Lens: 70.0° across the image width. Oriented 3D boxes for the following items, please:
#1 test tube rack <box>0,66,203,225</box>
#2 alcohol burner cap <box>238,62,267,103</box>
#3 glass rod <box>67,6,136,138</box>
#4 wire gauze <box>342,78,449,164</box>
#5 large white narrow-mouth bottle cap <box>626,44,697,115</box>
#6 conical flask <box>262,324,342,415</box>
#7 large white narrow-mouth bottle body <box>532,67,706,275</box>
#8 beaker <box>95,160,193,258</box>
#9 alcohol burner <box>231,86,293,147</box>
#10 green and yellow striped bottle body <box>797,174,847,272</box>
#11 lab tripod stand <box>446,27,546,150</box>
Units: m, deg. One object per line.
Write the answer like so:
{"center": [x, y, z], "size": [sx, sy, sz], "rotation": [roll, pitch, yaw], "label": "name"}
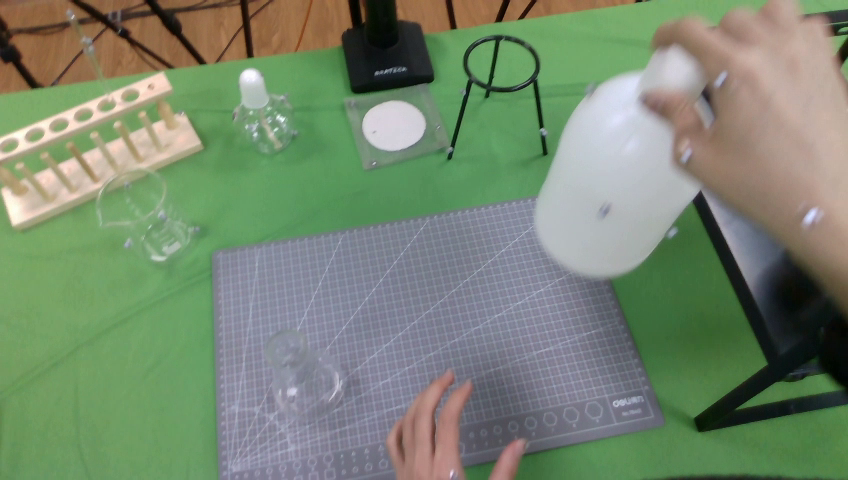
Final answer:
{"center": [-0.413, -0.117, 0.748], "size": [0.242, 0.086, 0.066], "rotation": [-28, 64, -15], "label": "test tube rack"}
{"center": [-0.208, -0.193, 0.731], "size": [0.034, 0.048, 0.033], "rotation": [4, 58, -6], "label": "alcohol burner cap"}
{"center": [-0.373, -0.188, 0.711], "size": [0.008, 0.201, 0.008], "rotation": [2, 58, -3], "label": "glass rod"}
{"center": [-0.040, -0.166, 0.816], "size": [0.121, 0.011, 0.124], "rotation": [-14, 62, -8], "label": "wire gauze"}
{"center": [0.140, -0.095, 0.358], "size": [0.038, 0.024, 0.037], "rotation": [0, 64, 0], "label": "large white narrow-mouth bottle cap"}
{"center": [-0.124, 0.120, 0.590], "size": [0.075, 0.123, 0.074], "rotation": [0, 60, 1], "label": "conical flask"}
{"center": [0.141, -0.055, 0.435], "size": [0.102, 0.196, 0.101], "rotation": [0, 63, 0], "label": "large white narrow-mouth bottle body"}
{"center": [-0.315, -0.029, 0.690], "size": [0.073, 0.101, 0.084], "rotation": [32, 66, 18], "label": "beaker"}
{"center": [-0.208, -0.173, 0.762], "size": [0.078, 0.120, 0.077], "rotation": [0, 59, 0], "label": "alcohol burner"}
{"center": [0.349, -0.028, 0.467], "size": [0.063, 0.120, 0.062], "rotation": [0, 61, 1], "label": "green and yellow striped bottle body"}
{"center": [0.093, -0.182, 0.753], "size": [0.148, 0.132, 0.147], "rotation": [1, 60, -1], "label": "lab tripod stand"}
